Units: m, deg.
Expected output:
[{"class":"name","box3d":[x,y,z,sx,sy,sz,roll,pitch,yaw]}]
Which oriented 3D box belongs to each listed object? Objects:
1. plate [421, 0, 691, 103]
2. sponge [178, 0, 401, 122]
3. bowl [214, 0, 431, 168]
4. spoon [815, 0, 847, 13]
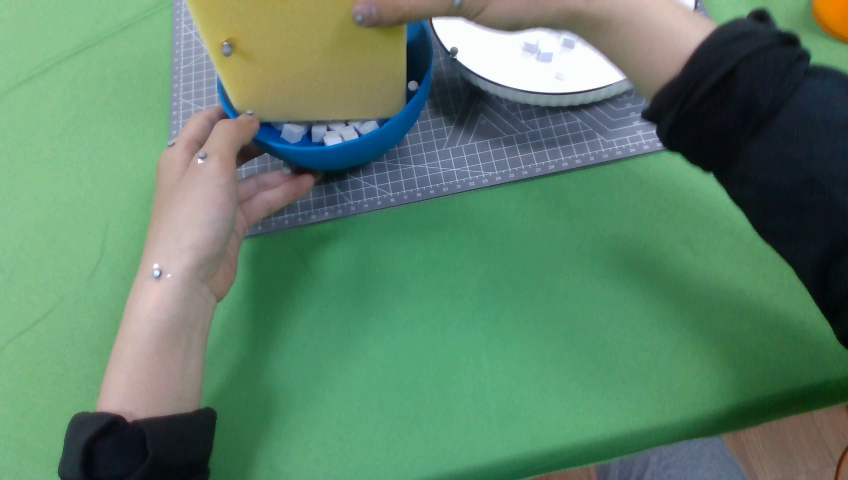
[{"class":"plate","box3d":[0.102,-0.191,0.489,0.209,0.038,0.207,-3,65,6]},{"class":"sponge","box3d":[-0.073,-0.149,0.345,0.118,0.208,0.060,-3,69,-2]},{"class":"bowl","box3d":[-0.066,-0.107,0.446,0.151,0.077,0.150,-3,64,6]},{"class":"spoon","box3d":[0.372,-0.229,0.417,0.022,0.194,0.041,4,59,-41]}]
